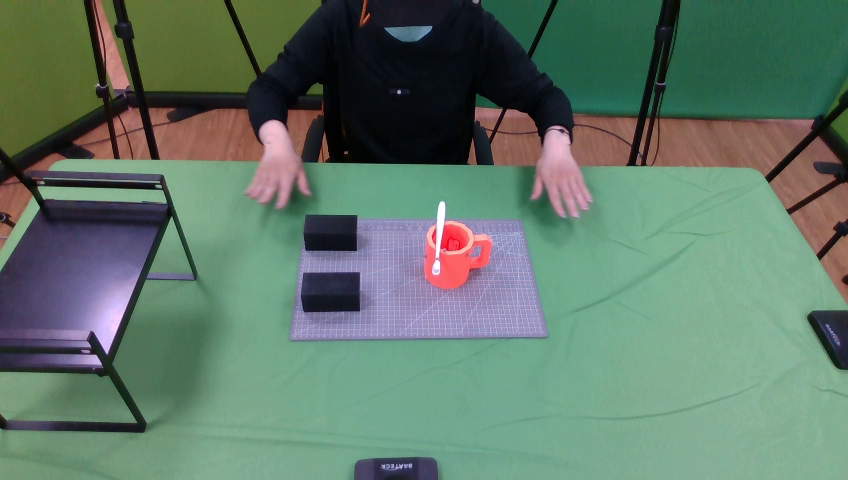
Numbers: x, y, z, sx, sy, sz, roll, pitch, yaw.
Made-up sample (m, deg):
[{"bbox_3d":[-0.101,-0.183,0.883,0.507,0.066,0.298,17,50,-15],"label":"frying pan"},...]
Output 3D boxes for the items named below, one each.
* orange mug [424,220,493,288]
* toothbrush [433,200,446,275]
[{"bbox_3d":[0.064,0.023,1.119,0.126,0.101,0.083,-9,47,-7],"label":"orange mug"},{"bbox_3d":[0.028,-0.010,1.076,0.014,0.017,0.181,1,46,6],"label":"toothbrush"}]
